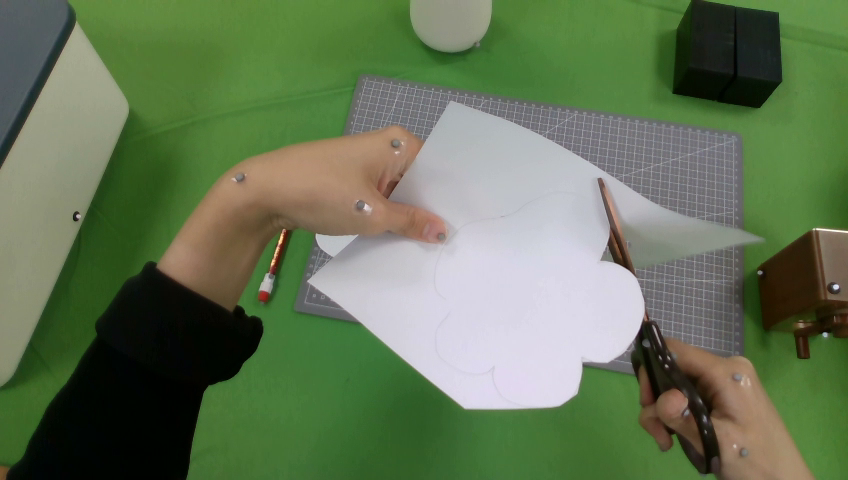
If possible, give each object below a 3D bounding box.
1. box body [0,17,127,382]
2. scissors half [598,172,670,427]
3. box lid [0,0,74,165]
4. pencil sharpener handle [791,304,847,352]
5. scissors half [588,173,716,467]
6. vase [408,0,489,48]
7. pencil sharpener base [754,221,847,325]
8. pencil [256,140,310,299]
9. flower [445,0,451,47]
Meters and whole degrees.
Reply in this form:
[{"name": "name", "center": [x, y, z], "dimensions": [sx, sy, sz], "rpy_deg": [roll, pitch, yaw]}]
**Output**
[{"name": "box body", "center": [-0.482, -0.058, 0.579], "dimensions": [0.254, 0.161, 0.361], "rpy_deg": [10, 68, 4]}, {"name": "scissors half", "center": [0.125, 0.040, 0.360], "dimensions": [0.013, 0.039, 0.176], "rpy_deg": [-20, 114, 3]}, {"name": "box lid", "center": [-0.483, -0.088, 0.510], "dimensions": [0.263, 0.015, 0.369], "rpy_deg": [10, 68, 3]}, {"name": "pencil sharpener handle", "center": [0.361, 0.081, 0.545], "dimensions": [0.036, 0.068, 0.030], "rpy_deg": [11, 68, -11]}, {"name": "scissors half", "center": [0.125, 0.043, 0.338], "dimensions": [0.013, 0.040, 0.175], "rpy_deg": [-21, 86, -2]}, {"name": "vase", "center": [0.027, -0.306, 0.662], "dimensions": [0.098, 0.201, 0.097], "rpy_deg": [0, 67, 1]}, {"name": "pencil sharpener base", "center": [0.370, 0.039, 0.575], "dimensions": [0.061, 0.108, 0.076], "rpy_deg": [6, 68, 2]}, {"name": "pencil", "center": [-0.148, -0.028, 0.653], "dimensions": [0.012, 0.012, 0.193], "rpy_deg": [10, 67, 4]}, {"name": "flower", "center": [0.023, -0.351, 0.590], "dimensions": [0.044, 0.365, 0.038], "rpy_deg": [3, 50, 5]}]
